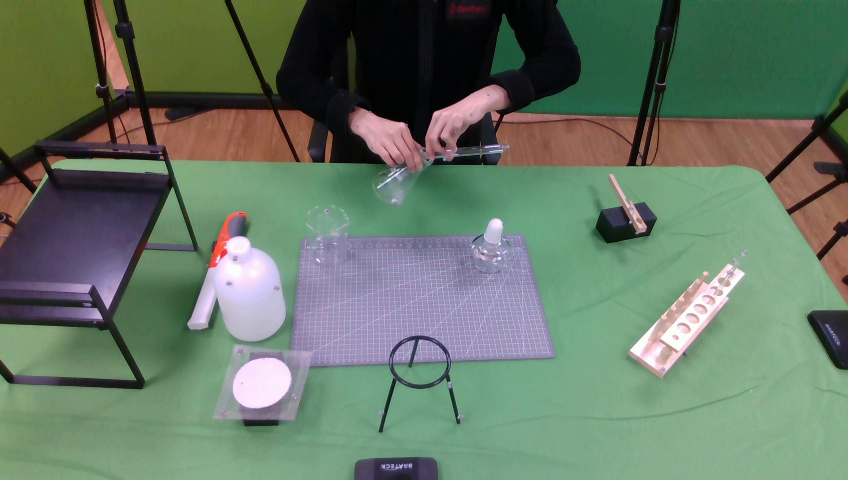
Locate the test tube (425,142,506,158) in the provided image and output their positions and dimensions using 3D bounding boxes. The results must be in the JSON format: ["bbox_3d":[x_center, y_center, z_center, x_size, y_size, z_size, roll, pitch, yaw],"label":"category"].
[{"bbox_3d":[0.071,-0.157,1.055,0.150,0.017,0.017,-1,42,25],"label":"test tube"}]

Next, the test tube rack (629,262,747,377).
[{"bbox_3d":[0.464,0.126,1.060,0.242,0.085,0.066,-34,56,-30],"label":"test tube rack"}]

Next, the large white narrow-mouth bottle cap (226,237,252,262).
[{"bbox_3d":[-0.282,0.014,0.923,0.038,0.024,0.037,2,46,-2],"label":"large white narrow-mouth bottle cap"}]

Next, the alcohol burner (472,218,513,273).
[{"bbox_3d":[0.128,0.005,1.132,0.078,0.120,0.077,0,47,0],"label":"alcohol burner"}]

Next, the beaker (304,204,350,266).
[{"bbox_3d":[-0.178,-0.006,1.132,0.084,0.101,0.073,4,46,-1],"label":"beaker"}]

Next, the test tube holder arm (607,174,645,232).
[{"bbox_3d":[0.411,-0.080,1.238,0.013,0.015,0.177,0,42,-12],"label":"test tube holder arm"}]

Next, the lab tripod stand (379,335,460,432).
[{"bbox_3d":[-0.010,0.214,0.911,0.148,0.132,0.147,1,45,0],"label":"lab tripod stand"}]

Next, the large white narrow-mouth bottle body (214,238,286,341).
[{"bbox_3d":[-0.285,0.073,0.986,0.102,0.195,0.101,2,46,-2],"label":"large white narrow-mouth bottle body"}]

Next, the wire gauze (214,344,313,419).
[{"bbox_3d":[-0.241,0.213,0.915,0.121,0.011,0.124,5,46,1],"label":"wire gauze"}]

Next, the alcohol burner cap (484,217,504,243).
[{"bbox_3d":[0.131,-0.021,1.107,0.034,0.048,0.033,5,46,-5],"label":"alcohol burner cap"}]

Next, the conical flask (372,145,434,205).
[{"bbox_3d":[-0.034,-0.125,1.124,0.076,0.122,0.075,29,40,-28],"label":"conical flask"}]

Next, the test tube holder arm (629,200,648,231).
[{"bbox_3d":[0.423,-0.050,1.206,0.010,0.015,0.087,1,42,-12],"label":"test tube holder arm"}]

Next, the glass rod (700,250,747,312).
[{"bbox_3d":[0.500,0.075,1.021,0.008,0.201,0.008,0,54,1],"label":"glass rod"}]

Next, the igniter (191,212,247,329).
[{"bbox_3d":[-0.376,0.047,1.121,0.057,0.025,0.275,-4,46,6],"label":"igniter"}]
